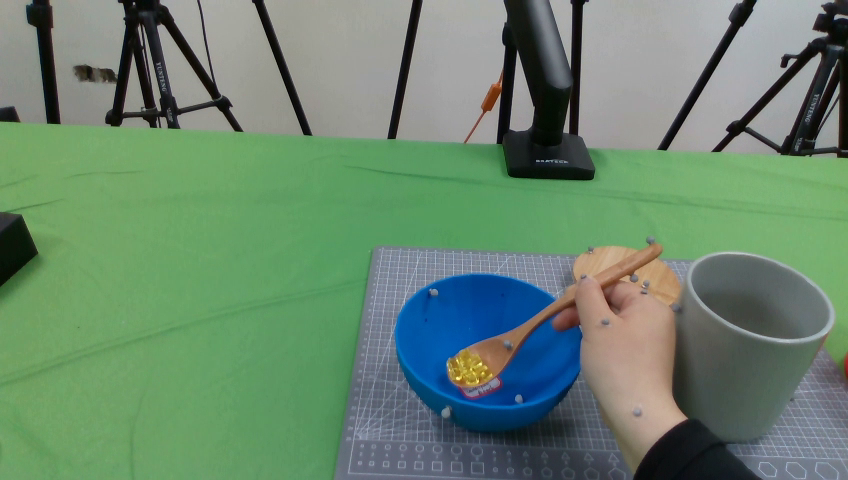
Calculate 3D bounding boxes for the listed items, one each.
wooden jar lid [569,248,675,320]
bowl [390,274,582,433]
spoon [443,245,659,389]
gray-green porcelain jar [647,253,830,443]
[{"bbox_3d":[0.207,0.047,0.640,0.108,0.021,0.107,2,35,-1],"label":"wooden jar lid"},{"bbox_3d":[0.047,0.104,0.499,0.151,0.077,0.150,2,36,-1],"label":"bowl"},{"bbox_3d":[0.096,0.060,0.472,0.194,0.022,0.041,-37,35,15],"label":"spoon"},{"bbox_3d":[0.244,0.091,0.490,0.106,0.127,0.105,2,36,-1],"label":"gray-green porcelain jar"}]
